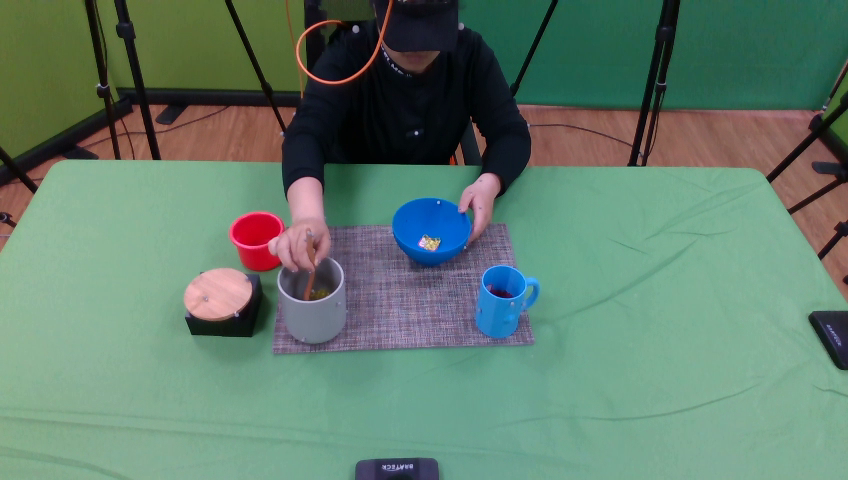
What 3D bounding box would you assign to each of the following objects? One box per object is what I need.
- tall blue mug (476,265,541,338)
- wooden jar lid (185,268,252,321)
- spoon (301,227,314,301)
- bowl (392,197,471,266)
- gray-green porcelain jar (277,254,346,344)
[{"bbox_3d":[0.142,0.099,1.047,0.077,0.108,0.107,33,52,27],"label":"tall blue mug"},{"bbox_3d":[-0.343,0.093,1.015,0.108,0.021,0.107,3,46,-3],"label":"wooden jar lid"},{"bbox_3d":[-0.188,0.055,0.984,0.022,0.194,0.041,4,38,-9],"label":"spoon"},{"bbox_3d":[0.012,-0.004,1.159,0.151,0.077,0.150,2,46,-2],"label":"bowl"},{"bbox_3d":[-0.184,0.103,1.008,0.106,0.127,0.105,2,46,-2],"label":"gray-green porcelain jar"}]
